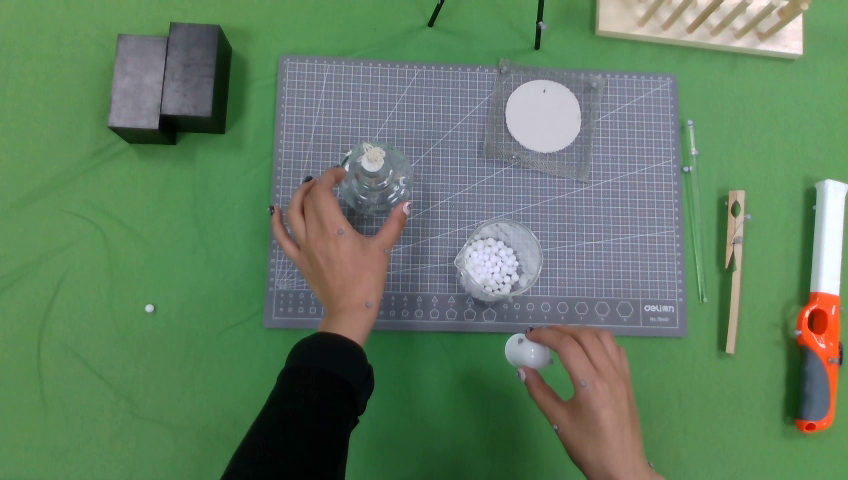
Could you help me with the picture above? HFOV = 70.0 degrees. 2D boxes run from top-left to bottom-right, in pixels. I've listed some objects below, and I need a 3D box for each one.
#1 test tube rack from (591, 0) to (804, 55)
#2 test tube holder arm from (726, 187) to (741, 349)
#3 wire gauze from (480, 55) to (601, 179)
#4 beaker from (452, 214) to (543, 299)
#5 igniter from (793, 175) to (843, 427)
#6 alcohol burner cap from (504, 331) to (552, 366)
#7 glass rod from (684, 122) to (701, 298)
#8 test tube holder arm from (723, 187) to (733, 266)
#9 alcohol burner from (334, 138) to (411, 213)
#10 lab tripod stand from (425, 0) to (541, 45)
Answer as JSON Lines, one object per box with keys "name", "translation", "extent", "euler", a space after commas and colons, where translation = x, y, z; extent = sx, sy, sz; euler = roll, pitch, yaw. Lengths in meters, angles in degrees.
{"name": "test tube rack", "translation": [0.319, -0.268, 0.672], "extent": [0.242, 0.085, 0.066], "euler": [5, 81, -3]}
{"name": "test tube holder arm", "translation": [0.338, 0.030, 0.661], "extent": [0.013, 0.015, 0.178], "euler": [0, 80, 32]}
{"name": "wire gauze", "translation": [0.131, -0.140, 0.677], "extent": [0.125, 0.011, 0.121], "euler": [13, 82, -3]}
{"name": "beaker", "translation": [0.066, 0.021, 0.603], "extent": [0.084, 0.100, 0.073], "euler": [-6, 81, -4]}
{"name": "igniter", "translation": [0.430, 0.065, 0.660], "extent": [0.057, 0.025, 0.275], "euler": [12, 81, -12]}
{"name": "alcohol burner cap", "translation": [0.098, 0.100, 0.558], "extent": [0.034, 0.048, 0.034], "euler": [3, 82, -20]}
{"name": "glass rod", "translation": [0.299, -0.035, 0.675], "extent": [0.008, 0.008, 0.199], "euler": [-1, 84, -4]}
{"name": "test tube holder arm", "translation": [0.337, -0.015, 0.671], "extent": [0.010, 0.015, 0.087], "euler": [0, 80, 32]}
{"name": "alcohol burner", "translation": [-0.052, -0.068, 0.601], "extent": [0.078, 0.119, 0.077], "euler": [0, 81, -1]}
{"name": "lab tripod stand", "translation": [0.074, -0.279, 0.633], "extent": [0.148, 0.131, 0.148], "euler": [0, 83, -3]}
